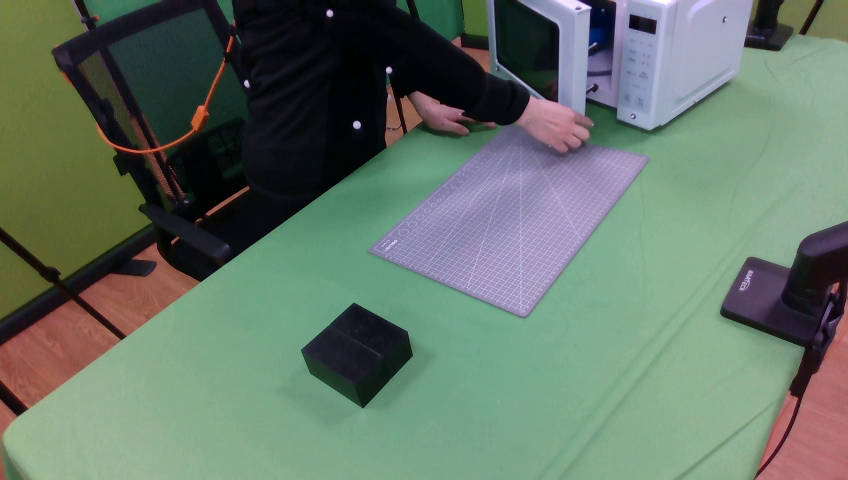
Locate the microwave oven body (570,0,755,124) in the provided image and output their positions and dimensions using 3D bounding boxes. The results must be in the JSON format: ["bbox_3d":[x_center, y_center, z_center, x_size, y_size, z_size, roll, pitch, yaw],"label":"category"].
[{"bbox_3d":[0.402,-0.458,1.259,0.327,0.261,0.437,-33,45,-24],"label":"microwave oven body"}]

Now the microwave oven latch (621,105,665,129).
[{"bbox_3d":[0.413,-0.237,1.146,0.030,0.029,0.078,-31,44,-23],"label":"microwave oven latch"}]

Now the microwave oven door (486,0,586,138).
[{"bbox_3d":[0.216,-0.387,1.204,0.039,0.245,0.353,-20,41,-11],"label":"microwave oven door"}]
